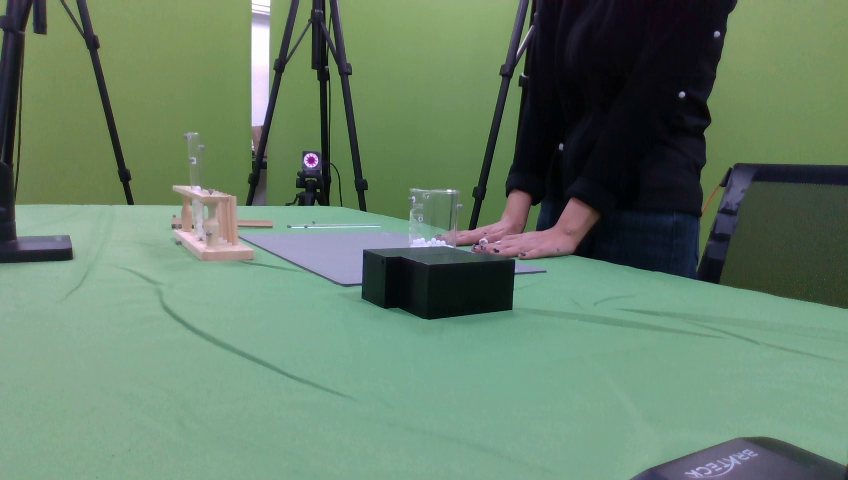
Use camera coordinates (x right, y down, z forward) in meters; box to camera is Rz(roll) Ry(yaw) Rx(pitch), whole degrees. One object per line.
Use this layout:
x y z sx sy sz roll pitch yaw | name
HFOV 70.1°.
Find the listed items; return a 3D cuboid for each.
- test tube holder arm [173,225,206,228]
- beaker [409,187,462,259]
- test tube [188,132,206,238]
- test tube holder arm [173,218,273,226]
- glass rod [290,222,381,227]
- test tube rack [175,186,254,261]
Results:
-0.414 -0.030 1.113 0.088 0.015 0.010 -1 -21 -25 | test tube holder arm
0.013 -0.026 0.884 0.074 0.100 0.083 0 7 -23 | beaker
-0.322 -0.077 0.861 0.017 0.150 0.017 -1 8 1 | test tube
-0.371 -0.033 1.128 0.179 0.015 0.013 -1 -21 -25 | test tube holder arm
-0.178 -0.032 1.247 0.201 0.008 0.008 -2 8 -30 | glass rod
-0.314 -0.030 0.889 0.067 0.085 0.241 -2 8 -30 | test tube rack
